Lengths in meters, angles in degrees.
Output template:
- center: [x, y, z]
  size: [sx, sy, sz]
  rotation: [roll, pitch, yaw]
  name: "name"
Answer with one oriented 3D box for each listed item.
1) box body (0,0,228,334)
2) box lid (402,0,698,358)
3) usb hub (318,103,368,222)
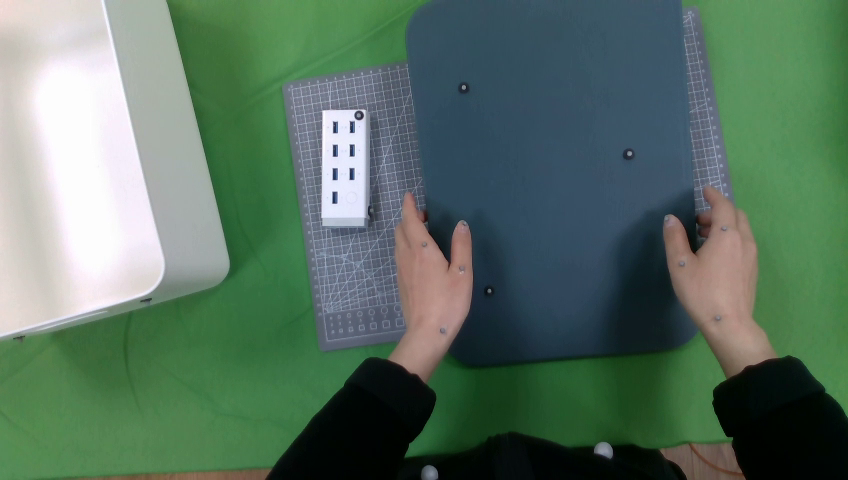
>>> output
- center: [-0.374, -0.101, 0.613]
  size: [0.254, 0.160, 0.363]
  rotation: [-15, 86, 5]
  name: "box body"
- center: [0.127, -0.064, 0.601]
  size: [0.263, 0.015, 0.372]
  rotation: [-7, 99, 6]
  name: "box lid"
- center: [-0.086, -0.082, 0.648]
  size: [0.049, 0.025, 0.125]
  rotation: [0, 89, 5]
  name: "usb hub"
